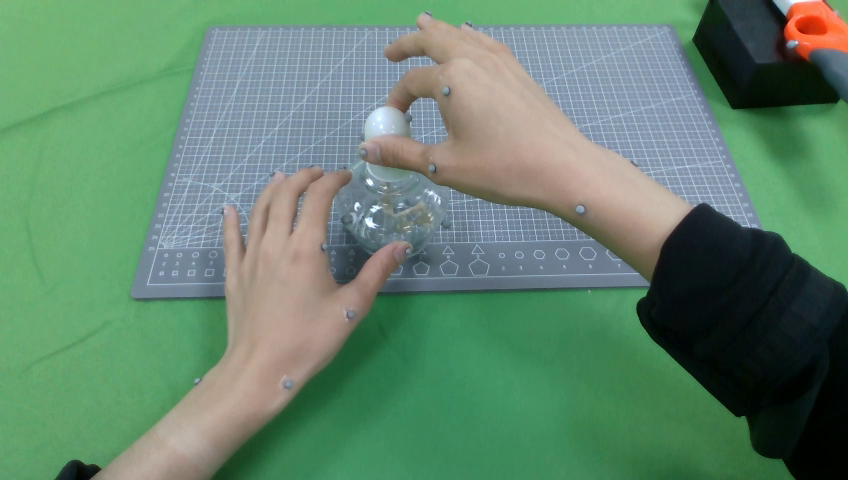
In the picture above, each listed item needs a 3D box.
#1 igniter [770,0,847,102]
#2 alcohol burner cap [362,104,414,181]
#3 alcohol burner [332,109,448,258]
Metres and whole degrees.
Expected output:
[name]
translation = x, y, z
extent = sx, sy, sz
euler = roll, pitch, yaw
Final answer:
[igniter]
translation = 0.321, -0.190, 0.509
extent = 0.057, 0.025, 0.273
euler = -6, 53, -2
[alcohol burner cap]
translation = -0.023, -0.062, 0.368
extent = 0.034, 0.048, 0.033
euler = 1, 60, -1
[alcohol burner]
translation = -0.023, -0.041, 0.396
extent = 0.078, 0.120, 0.077
euler = 0, 56, 0
